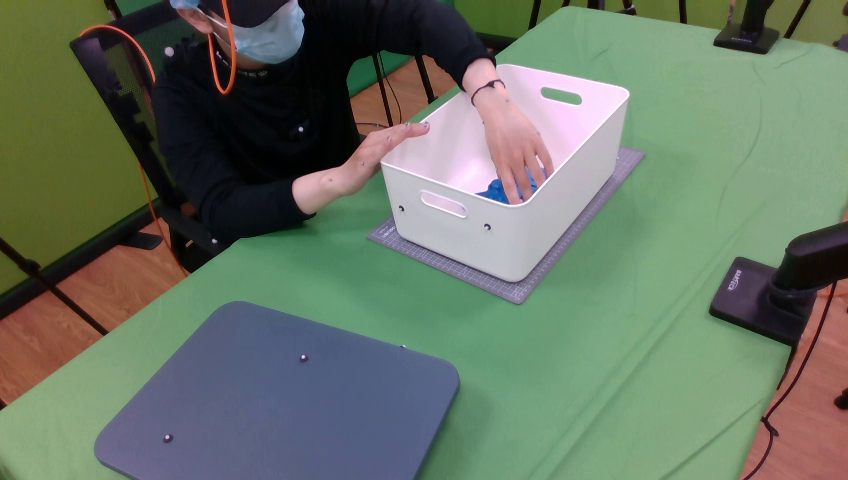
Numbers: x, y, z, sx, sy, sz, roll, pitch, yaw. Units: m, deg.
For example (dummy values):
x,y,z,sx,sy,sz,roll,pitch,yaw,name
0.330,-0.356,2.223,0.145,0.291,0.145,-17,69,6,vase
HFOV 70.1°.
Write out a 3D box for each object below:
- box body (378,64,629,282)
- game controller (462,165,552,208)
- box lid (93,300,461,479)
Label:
x,y,z,sx,sy,sz,roll,pitch,yaw,name
0.137,-0.121,0.978,0.252,0.161,0.365,22,49,30,box body
0.146,-0.082,1.008,0.156,0.052,0.096,-29,51,-22,game controller
-0.164,0.200,0.701,0.369,0.015,0.263,13,44,21,box lid
